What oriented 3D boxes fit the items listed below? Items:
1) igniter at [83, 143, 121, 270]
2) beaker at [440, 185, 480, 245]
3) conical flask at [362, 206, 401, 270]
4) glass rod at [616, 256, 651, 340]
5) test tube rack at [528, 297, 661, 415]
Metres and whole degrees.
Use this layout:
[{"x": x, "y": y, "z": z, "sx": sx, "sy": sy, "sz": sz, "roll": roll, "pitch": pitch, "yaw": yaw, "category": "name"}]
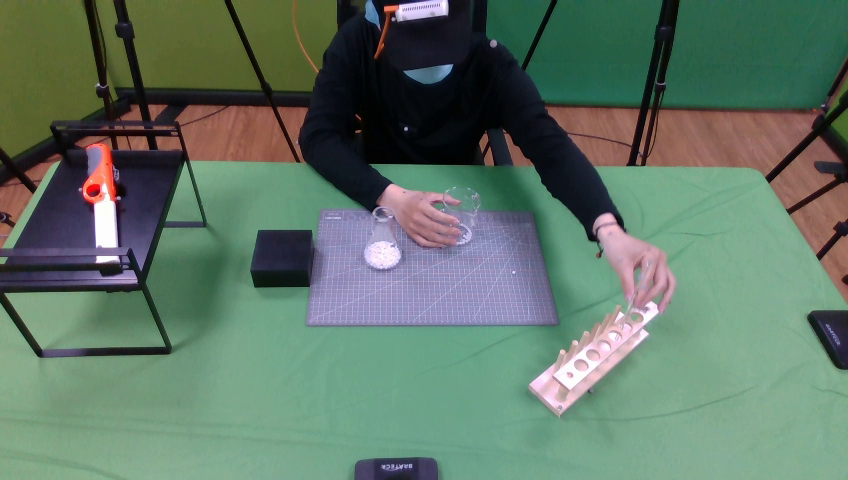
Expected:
[{"x": -0.508, "y": -0.063, "z": 0.961, "sx": 0.057, "sy": 0.025, "sz": 0.274, "roll": -14, "pitch": 53, "yaw": -18, "category": "igniter"}, {"x": 0.070, "y": -0.044, "z": 1.189, "sx": 0.074, "sy": 0.101, "sz": 0.083, "roll": -25, "pitch": 53, "yaw": -24, "category": "beaker"}, {"x": -0.078, "y": -0.008, "z": 1.127, "sx": 0.075, "sy": 0.122, "sz": 0.075, "roll": 2, "pitch": 46, "yaw": -2, "category": "conical flask"}, {"x": 0.321, "y": 0.095, "z": 0.935, "sx": 0.008, "sy": 0.201, "sz": 0.008, "roll": 0, "pitch": 45, "yaw": 0, "category": "glass rod"}, {"x": 0.285, "y": 0.178, "z": 1.005, "sx": 0.242, "sy": 0.085, "sz": 0.066, "roll": -31, "pitch": 55, "yaw": -29, "category": "test tube rack"}]
